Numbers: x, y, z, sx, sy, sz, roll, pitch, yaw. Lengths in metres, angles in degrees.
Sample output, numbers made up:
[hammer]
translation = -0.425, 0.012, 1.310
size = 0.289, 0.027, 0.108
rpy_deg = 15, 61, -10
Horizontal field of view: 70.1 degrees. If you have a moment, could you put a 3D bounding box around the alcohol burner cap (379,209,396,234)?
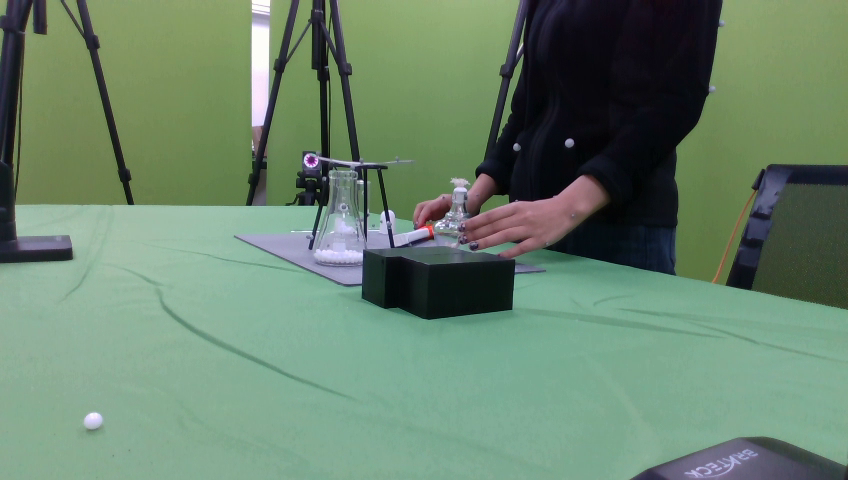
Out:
[alcohol burner cap]
translation = -0.069, -0.036, 1.154
size = 0.034, 0.048, 0.034
rpy_deg = 2, 7, 0

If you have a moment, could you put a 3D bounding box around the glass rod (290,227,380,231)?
[glass rod]
translation = -0.161, -0.023, 1.177
size = 0.201, 0.008, 0.008
rpy_deg = -2, 8, -28

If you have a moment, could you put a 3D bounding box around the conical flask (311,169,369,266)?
[conical flask]
translation = -0.107, -0.031, 0.786
size = 0.075, 0.122, 0.075
rpy_deg = 2, 8, 0

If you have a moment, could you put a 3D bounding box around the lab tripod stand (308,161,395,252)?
[lab tripod stand]
translation = -0.098, -0.053, 0.919
size = 0.148, 0.131, 0.148
rpy_deg = 4, 7, 0

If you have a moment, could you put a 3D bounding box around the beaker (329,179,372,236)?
[beaker]
translation = -0.137, -0.061, 1.101
size = 0.084, 0.100, 0.074
rpy_deg = 4, 7, 20

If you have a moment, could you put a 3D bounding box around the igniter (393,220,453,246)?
[igniter]
translation = 0.003, -0.015, 1.083
size = 0.057, 0.025, 0.277
rpy_deg = -13, 2, 17

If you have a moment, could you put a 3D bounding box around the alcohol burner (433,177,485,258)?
[alcohol burner]
translation = 0.052, -0.033, 0.894
size = 0.078, 0.119, 0.078
rpy_deg = 2, 9, 0

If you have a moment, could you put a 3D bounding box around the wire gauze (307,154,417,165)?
[wire gauze]
translation = -0.094, -0.120, 0.913
size = 0.122, 0.011, 0.124
rpy_deg = -5, 11, -45
